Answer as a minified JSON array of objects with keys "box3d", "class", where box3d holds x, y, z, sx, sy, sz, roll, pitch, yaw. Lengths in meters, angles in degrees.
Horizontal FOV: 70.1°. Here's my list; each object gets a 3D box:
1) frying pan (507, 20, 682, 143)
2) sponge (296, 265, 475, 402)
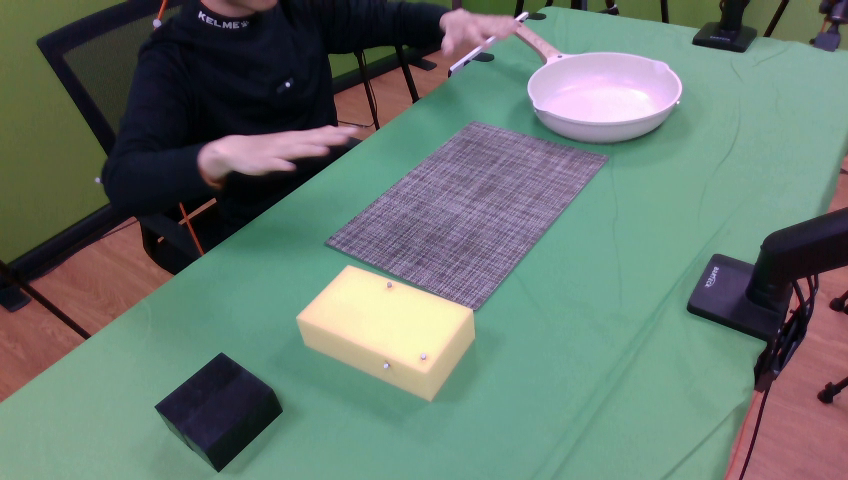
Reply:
[{"box3d":[0.312,-0.352,1.271,0.308,0.103,0.484,-20,51,-16],"class":"frying pan"},{"box3d":[-0.050,0.118,0.811,0.205,0.061,0.118,17,47,26],"class":"sponge"}]
